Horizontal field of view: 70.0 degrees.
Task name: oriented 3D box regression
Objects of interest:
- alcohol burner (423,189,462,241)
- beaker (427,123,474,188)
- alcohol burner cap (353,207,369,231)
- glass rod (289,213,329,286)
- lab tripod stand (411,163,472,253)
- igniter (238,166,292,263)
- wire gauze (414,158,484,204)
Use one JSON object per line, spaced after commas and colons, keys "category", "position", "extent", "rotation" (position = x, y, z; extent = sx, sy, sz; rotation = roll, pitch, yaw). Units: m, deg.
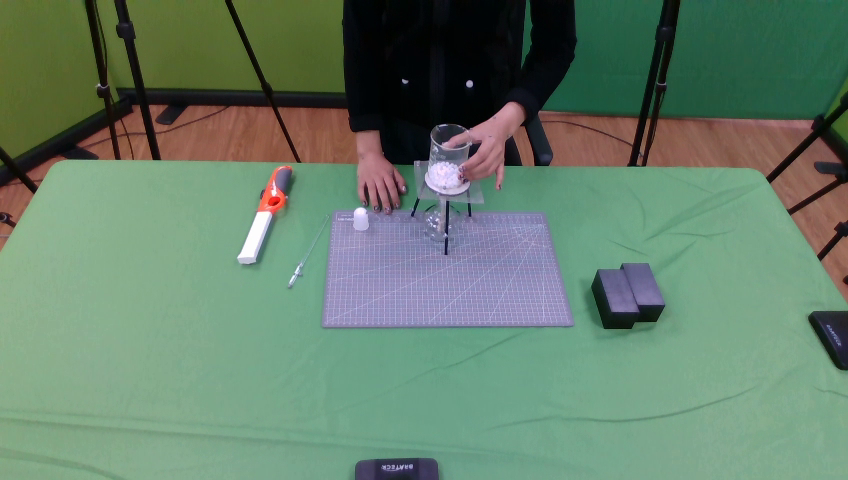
{"category": "alcohol burner", "position": [0.037, -0.055, 1.187], "extent": [0.078, 0.120, 0.077], "rotation": [1, 48, -1]}
{"category": "beaker", "position": [0.043, -0.153, 1.105], "extent": [0.074, 0.101, 0.083], "rotation": [-24, 54, -26]}
{"category": "alcohol burner cap", "position": [-0.127, -0.046, 1.215], "extent": [0.034, 0.048, 0.033], "rotation": [3, 48, -3]}
{"category": "glass rod", "position": [-0.221, 0.014, 1.179], "extent": [0.008, 0.008, 0.199], "rotation": [12, 46, 8]}
{"category": "lab tripod stand", "position": [0.042, -0.069, 1.187], "extent": [0.148, 0.132, 0.147], "rotation": [3, 47, -3]}
{"category": "igniter", "position": [-0.319, -0.060, 1.229], "extent": [0.057, 0.025, 0.275], "rotation": [-2, 45, 10]}
{"category": "wire gauze", "position": [0.045, -0.114, 1.136], "extent": [0.125, 0.011, 0.120], "rotation": [1, 47, -5]}
